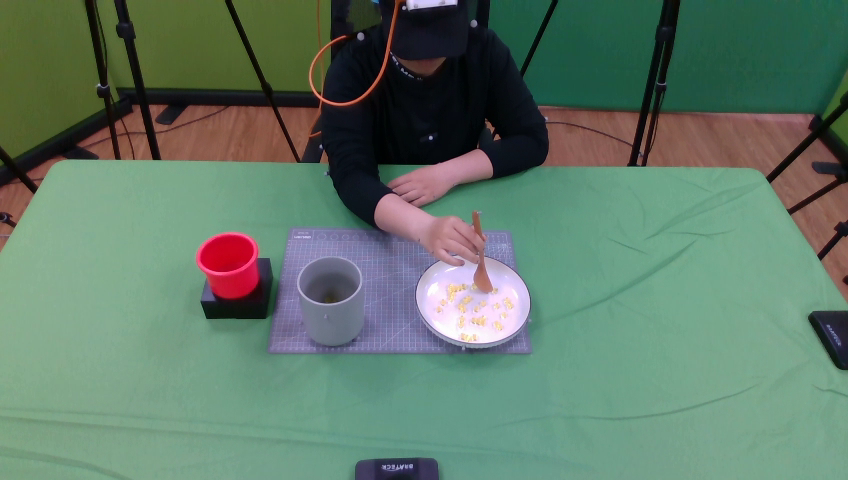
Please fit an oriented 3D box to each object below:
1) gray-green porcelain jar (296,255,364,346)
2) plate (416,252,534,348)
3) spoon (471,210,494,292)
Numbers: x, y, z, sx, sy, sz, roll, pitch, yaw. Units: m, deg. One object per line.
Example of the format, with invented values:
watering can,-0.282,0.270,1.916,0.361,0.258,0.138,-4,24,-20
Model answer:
gray-green porcelain jar,-0.153,0.106,1.008,0.106,0.127,0.105,2,46,-2
plate,0.090,0.109,1.084,0.208,0.039,0.206,2,46,-2
spoon,0.097,0.022,1.049,0.041,0.195,0.021,20,47,34
